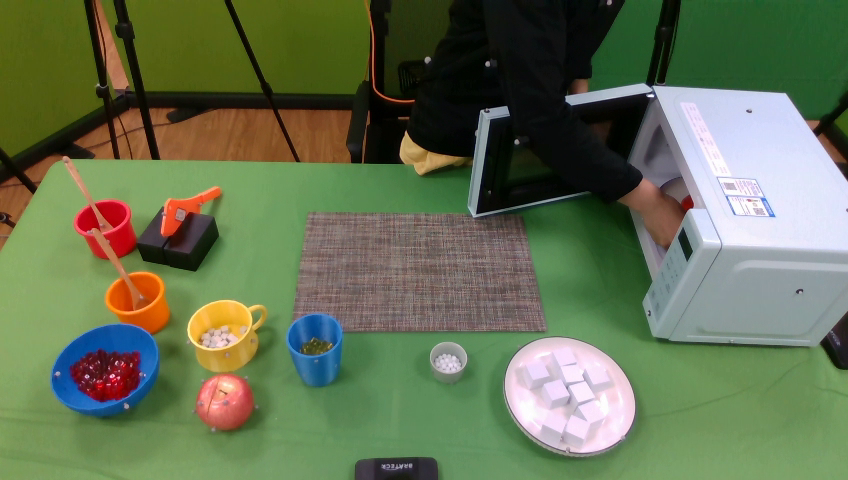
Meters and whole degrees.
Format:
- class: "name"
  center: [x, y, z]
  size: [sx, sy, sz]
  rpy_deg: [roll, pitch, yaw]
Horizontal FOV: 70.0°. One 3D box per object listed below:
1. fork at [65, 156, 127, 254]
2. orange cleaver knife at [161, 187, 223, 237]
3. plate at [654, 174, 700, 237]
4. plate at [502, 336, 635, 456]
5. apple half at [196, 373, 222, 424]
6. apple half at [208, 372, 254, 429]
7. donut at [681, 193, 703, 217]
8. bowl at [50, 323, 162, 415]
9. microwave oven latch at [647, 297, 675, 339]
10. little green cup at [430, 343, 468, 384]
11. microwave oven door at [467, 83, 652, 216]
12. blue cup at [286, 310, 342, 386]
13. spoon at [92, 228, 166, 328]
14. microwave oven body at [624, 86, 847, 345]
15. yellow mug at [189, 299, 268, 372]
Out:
- class: "fork"
  center: [-0.614, -0.064, 1.130]
  size: [0.028, 0.018, 0.207]
  rpy_deg: [-29, 97, -16]
- class: "orange cleaver knife"
  center: [-0.448, -0.058, 1.180]
  size: [0.012, 0.077, 0.211]
  rpy_deg: [13, 17, 6]
- class: "plate"
  center: [0.550, -0.046, 1.176]
  size: [0.209, 0.038, 0.208]
  rpy_deg: [2, 48, -2]
- class: "plate"
  center: [0.225, 0.248, 0.963]
  size: [0.208, 0.039, 0.206]
  rpy_deg: [2, 46, -2]
- class: "apple half"
  center: [-0.322, 0.239, 0.907]
  size: [0.033, 0.081, 0.081]
  rpy_deg: [7, 46, -1]
- class: "apple half"
  center: [-0.282, 0.244, 0.908]
  size: [0.053, 0.075, 0.080]
  rpy_deg: [7, 43, -1]
- class: "donut"
  center: [0.547, -0.056, 1.169]
  size: [0.099, 0.048, 0.098]
  rpy_deg: [1, 39, -1]
- class: "bowl"
  center: [-0.472, 0.209, 0.924]
  size: [0.151, 0.077, 0.150]
  rpy_deg: [2, 45, -2]
- class: "microwave oven latch"
  center: [0.413, 0.134, 1.061]
  size: [0.030, 0.029, 0.078]
  rpy_deg: [5, 45, 2]
- class: "little green cup"
  center: [0.039, 0.203, 0.993]
  size: [0.061, 0.039, 0.061]
  rpy_deg: [2, 46, -2]
- class: "microwave oven door"
  center: [0.267, -0.180, 1.214]
  size: [0.356, 0.245, 0.039]
  rpy_deg: [-13, 49, -15]
- class: "blue cup"
  center: [-0.169, 0.179, 0.958]
  size: [0.093, 0.101, 0.092]
  rpy_deg: [1, 44, -1]
- class: "spoon"
  center: [-0.495, 0.063, 1.014]
  size: [0.041, 0.194, 0.021]
  rpy_deg: [-34, 13, -32]
- class: "microwave oven body"
  center: [0.567, -0.053, 1.118]
  size: [0.326, 0.261, 0.439]
  rpy_deg: [2, 45, -1]
- class: "yellow mug"
  center: [-0.316, 0.148, 1.002]
  size: [0.131, 0.064, 0.099]
  rpy_deg: [-32, 56, -31]
